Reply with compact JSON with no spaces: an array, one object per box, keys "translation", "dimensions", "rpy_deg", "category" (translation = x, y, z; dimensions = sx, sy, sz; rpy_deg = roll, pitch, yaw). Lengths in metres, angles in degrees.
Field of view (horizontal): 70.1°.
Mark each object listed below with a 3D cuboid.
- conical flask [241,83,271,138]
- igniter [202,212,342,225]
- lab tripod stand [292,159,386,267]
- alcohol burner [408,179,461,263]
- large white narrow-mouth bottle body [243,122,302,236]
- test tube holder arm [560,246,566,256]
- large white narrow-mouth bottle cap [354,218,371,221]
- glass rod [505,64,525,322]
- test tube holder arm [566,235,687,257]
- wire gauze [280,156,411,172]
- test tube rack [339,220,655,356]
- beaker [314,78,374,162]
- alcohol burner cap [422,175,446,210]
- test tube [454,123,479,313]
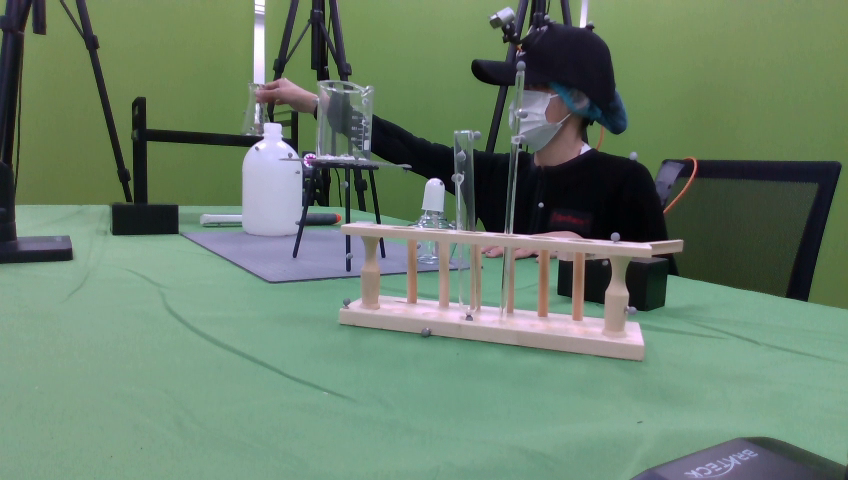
[{"translation":[-0.383,-0.297,1.393],"dimensions":[0.075,0.122,0.075],"rpy_deg":[2,7,0],"category":"conical flask"},{"translation":[-0.298,-0.044,1.216],"dimensions":[0.278,0.025,0.057],"rpy_deg":[-3,-2,-32],"category":"igniter"},{"translation":[-0.105,-0.039,0.797],"dimensions":[0.148,0.131,0.148],"rpy_deg":[2,5,0],"category":"lab tripod stand"},{"translation":[0.013,-0.029,0.834],"dimensions":[0.078,0.119,0.078],"rpy_deg":[0,6,0],"category":"alcohol burner"},{"translation":[-0.264,-0.109,1.061],"dimensions":[0.102,0.194,0.102],"rpy_deg":[2,8,0],"category":"large white narrow-mouth bottle body"},{"translation":[0.173,0.007,0.611],"dimensions":[0.088,0.015,0.010],"rpy_deg":[-3,9,-30],"category":"test tube holder arm"},{"translation":[-0.120,-0.029,1.184],"dimensions":[0.038,0.024,0.037],"rpy_deg":[2,8,0],"category":"large white narrow-mouth bottle cap"},{"translation":[0.069,-0.030,0.458],"dimensions":[0.008,0.199,0.008],"rpy_deg":[0,15,0],"category":"glass rod"},{"translation":[0.215,0.006,0.630],"dimensions":[0.179,0.015,0.013],"rpy_deg":[-3,9,-30],"category":"test tube holder arm"},{"translation":[-0.103,-0.103,0.785],"dimensions":[0.121,0.011,0.126],"rpy_deg":[11,8,42],"category":"wire gauze"},{"translation":[0.056,0.032,0.495],"dimensions":[0.242,0.085,0.067],"rpy_deg":[4,7,15],"category":"test tube rack"},{"translation":[-0.101,-0.150,0.773],"dimensions":[0.074,0.100,0.083],"rpy_deg":[-2,8,-40],"category":"beaker"},{"translation":[0.016,-0.065,0.830],"dimensions":[0.034,0.048,0.034],"rpy_deg":[7,4,0],"category":"alcohol burner cap"},{"translation":[0.034,-0.016,0.477],"dimensions":[0.017,0.150,0.017],"rpy_deg":[-2,9,1],"category":"test tube"}]
